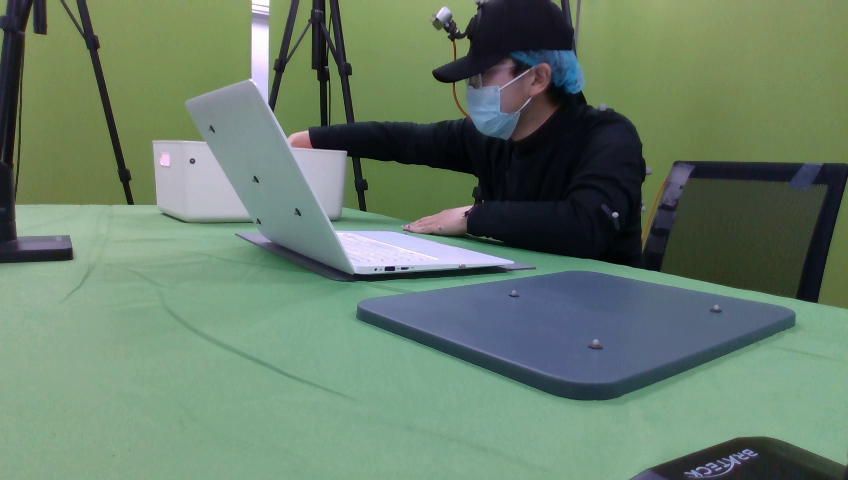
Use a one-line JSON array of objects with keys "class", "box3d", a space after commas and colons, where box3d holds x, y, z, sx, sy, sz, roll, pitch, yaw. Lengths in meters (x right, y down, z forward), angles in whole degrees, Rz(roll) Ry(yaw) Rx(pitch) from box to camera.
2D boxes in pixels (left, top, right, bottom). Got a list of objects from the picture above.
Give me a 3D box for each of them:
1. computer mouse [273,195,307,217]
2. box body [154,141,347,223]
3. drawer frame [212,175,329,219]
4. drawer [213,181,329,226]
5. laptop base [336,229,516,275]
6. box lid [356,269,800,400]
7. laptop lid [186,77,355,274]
[{"class": "computer mouse", "box3d": [-0.312, -0.080, 1.401, 0.063, 0.041, 0.116, 4, 13, -24]}, {"class": "box body", "box3d": [-0.383, -0.132, 1.346, 0.366, 0.160, 0.253, -3, 9, -36]}, {"class": "drawer frame", "box3d": [-0.348, -0.100, 1.364, 0.215, 0.082, 0.200, -3, 11, -31]}, {"class": "drawer", "box3d": [-0.346, -0.085, 1.370, 0.213, 0.073, 0.193, -11, 13, -30]}, {"class": "laptop base", "box3d": [-0.065, 0.014, 0.877, 0.237, 0.023, 0.352, 2, 7, -32]}, {"class": "box lid", "box3d": [0.152, 0.068, 0.564, 0.374, 0.015, 0.262, -4, 10, -41]}, {"class": "laptop lid", "box3d": [-0.211, -0.081, 0.772, 0.013, 0.242, 0.355, -35, 25, -23]}]
